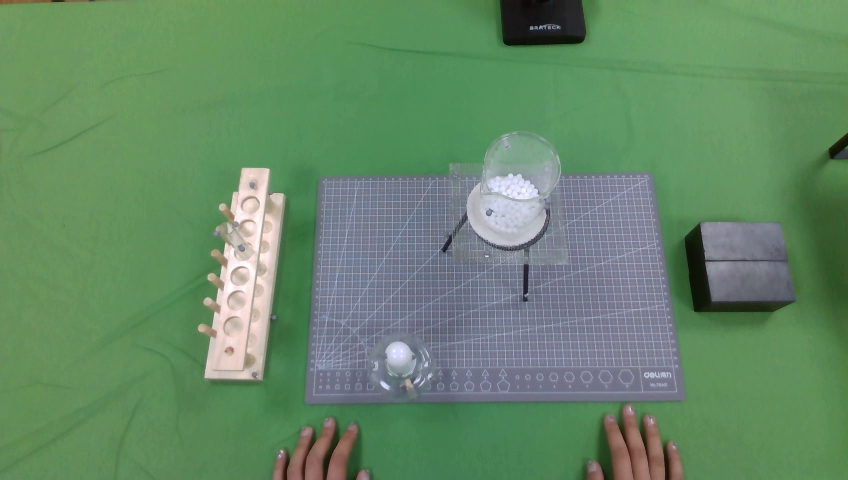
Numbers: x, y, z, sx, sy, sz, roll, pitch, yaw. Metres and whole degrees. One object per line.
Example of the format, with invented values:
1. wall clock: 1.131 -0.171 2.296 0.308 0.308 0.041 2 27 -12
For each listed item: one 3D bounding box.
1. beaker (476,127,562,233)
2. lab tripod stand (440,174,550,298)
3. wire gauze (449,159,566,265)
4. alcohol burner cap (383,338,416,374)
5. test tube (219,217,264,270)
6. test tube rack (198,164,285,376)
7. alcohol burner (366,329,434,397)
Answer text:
1. beaker: 0.089 -0.054 0.611 0.084 0.101 0.073 -33 73 -11
2. lab tripod stand: 0.093 -0.014 0.718 0.148 0.132 0.147 0 68 1
3. wire gauze: 0.089 -0.033 0.655 0.125 0.011 0.120 1 71 -2
4. alcohol burner cap: -0.027 0.121 0.642 0.034 0.048 0.033 -2 66 5
5. test tube: -0.204 0.008 0.687 0.017 0.151 0.017 1 71 -2
6. test tube rack: -0.223 0.035 0.730 0.067 0.086 0.240 2 71 1
7. alcohol burner: -0.027 0.134 0.676 0.078 0.120 0.077 1 70 -1
